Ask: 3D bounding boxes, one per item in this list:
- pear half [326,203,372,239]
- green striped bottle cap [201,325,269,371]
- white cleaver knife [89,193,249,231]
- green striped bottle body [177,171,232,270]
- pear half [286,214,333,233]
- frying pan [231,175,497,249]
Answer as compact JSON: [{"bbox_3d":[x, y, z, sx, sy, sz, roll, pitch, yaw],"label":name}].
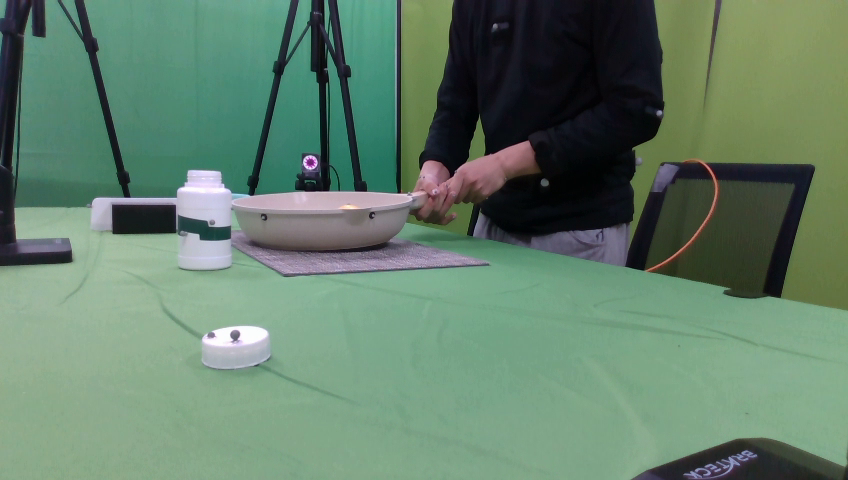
[{"bbox_3d":[-0.128,-0.034,1.013,0.076,0.056,0.109,2,6,-17],"label":"pear half"},{"bbox_3d":[-0.129,0.073,0.415,0.044,0.020,0.044,2,8,0],"label":"green striped bottle cap"},{"bbox_3d":[-0.454,-0.052,1.114,0.288,0.066,0.021,-4,14,-27],"label":"white cleaver knife"},{"bbox_3d":[-0.273,-0.026,0.752,0.063,0.119,0.063,2,7,0],"label":"green striped bottle body"},{"bbox_3d":[-0.197,-0.029,1.051,0.088,0.031,0.070,-14,21,-43],"label":"pear half"},{"bbox_3d":[-0.074,-0.064,1.042,0.490,0.103,0.305,-14,16,-25],"label":"frying pan"}]
